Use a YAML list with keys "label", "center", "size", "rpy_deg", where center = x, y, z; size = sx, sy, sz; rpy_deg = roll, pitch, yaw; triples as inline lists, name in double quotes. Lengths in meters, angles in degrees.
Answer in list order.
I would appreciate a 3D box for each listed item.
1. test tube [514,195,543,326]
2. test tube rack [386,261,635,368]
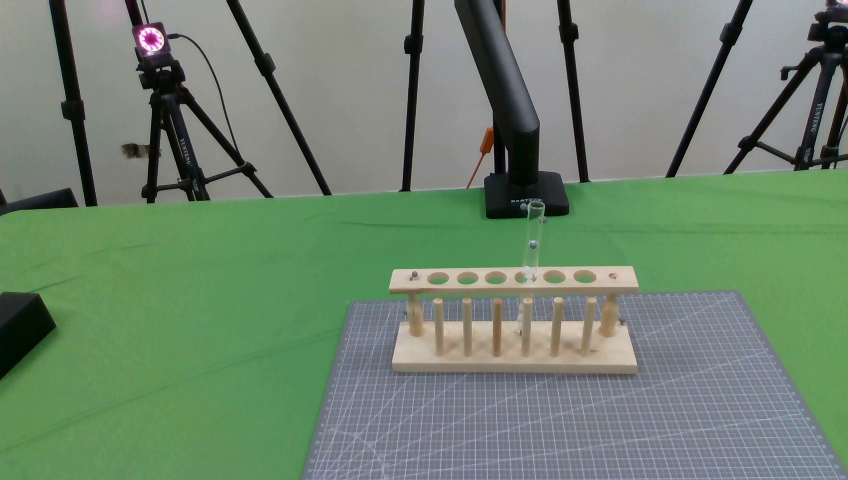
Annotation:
- label: "test tube"
  center: [0.102, 0.025, 0.599]
  size: [0.017, 0.151, 0.017]
  rpy_deg: [0, 32, 0]
- label: "test tube rack"
  center: [0.085, 0.076, 0.614]
  size: [0.242, 0.086, 0.066]
  rpy_deg: [-1, 33, 7]
